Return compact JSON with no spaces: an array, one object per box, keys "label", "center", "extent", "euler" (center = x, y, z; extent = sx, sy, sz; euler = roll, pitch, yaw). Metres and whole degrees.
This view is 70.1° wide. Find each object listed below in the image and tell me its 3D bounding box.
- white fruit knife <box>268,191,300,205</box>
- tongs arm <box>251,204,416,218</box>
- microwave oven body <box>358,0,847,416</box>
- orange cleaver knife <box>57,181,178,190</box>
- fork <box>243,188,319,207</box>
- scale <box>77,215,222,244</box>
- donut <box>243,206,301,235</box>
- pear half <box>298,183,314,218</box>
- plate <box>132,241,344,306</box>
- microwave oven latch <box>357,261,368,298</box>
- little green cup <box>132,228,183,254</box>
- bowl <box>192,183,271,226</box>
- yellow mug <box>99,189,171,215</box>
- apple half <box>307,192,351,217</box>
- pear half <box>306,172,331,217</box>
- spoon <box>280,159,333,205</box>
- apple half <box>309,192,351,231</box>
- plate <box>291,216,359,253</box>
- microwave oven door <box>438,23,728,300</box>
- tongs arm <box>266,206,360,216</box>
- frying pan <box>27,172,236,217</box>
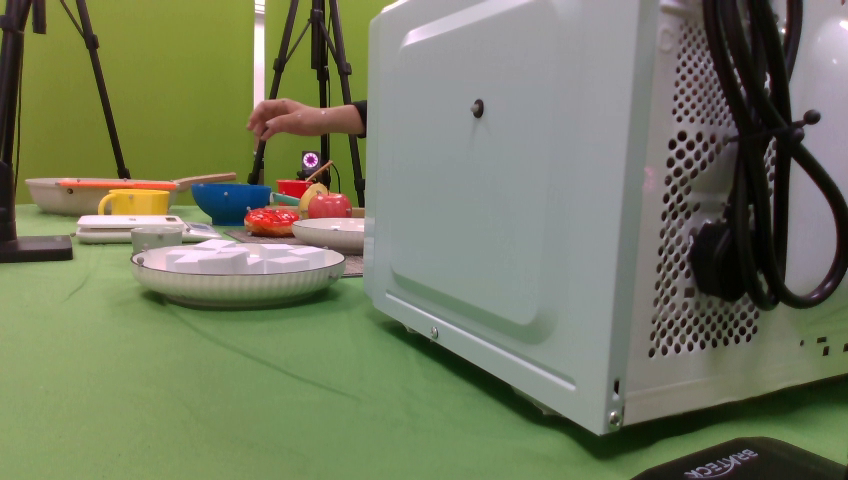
[{"label":"white fruit knife","center":[-0.364,-0.105,1.464],"extent":[0.208,0.027,0.016],"euler":[15,0,-34]},{"label":"tongs arm","center":[-0.211,-0.069,1.440],"extent":[0.389,0.027,0.028],"euler":[1,0,-17]},{"label":"microwave oven body","center":[0.211,-0.047,0.474],"extent":[0.444,0.260,0.324],"euler":[-1,7,-28]},{"label":"orange cleaver knife","center":[-0.600,-0.109,1.189],"extent":[0.212,0.012,0.077],"euler":[-1,11,-26]},{"label":"fork","center":[-0.356,-0.105,1.526],"extent":[0.208,0.018,0.028],"euler":[16,-6,-41]},{"label":"scale","center":[-0.434,-0.019,0.963],"extent":[0.202,0.031,0.148],"euler":[-1,9,-27]},{"label":"donut","center":[-0.261,-0.032,1.043],"extent":[0.099,0.048,0.099],"euler":[3,9,0]},{"label":"pear half","center":[-0.235,-0.071,1.207],"extent":[0.031,0.088,0.070],"euler":[3,9,0]},{"label":"plate","center":[-0.187,0.033,0.625],"extent":[0.208,0.039,0.207],"euler":[2,8,0]},{"label":"microwave oven latch","center":[-0.019,0.033,0.530],"extent":[0.079,0.029,0.030],"euler":[-1,7,-26]},{"label":"little green cup","center":[-0.342,0.006,0.779],"extent":[0.061,0.038,0.061],"euler":[2,8,0]},{"label":"bowl","center":[-0.382,-0.071,1.202],"extent":[0.151,0.077,0.151],"euler":[3,7,0]},{"label":"yellow mug","center":[-0.519,-0.055,1.080],"extent":[0.099,0.064,0.131],"euler":[7,10,26]},{"label":"apple half","center":[-0.174,-0.049,1.087],"extent":[0.081,0.074,0.053],"euler":[6,10,2]},{"label":"pear half","center":[-0.200,-0.079,1.204],"extent":[0.056,0.110,0.076],"euler":[3,11,1]},{"label":"spoon","center":[-0.316,-0.159,1.640],"extent":[0.194,0.022,0.041],"euler":[-50,32,-20]},{"label":"apple half","center":[-0.173,-0.055,1.125],"extent":[0.081,0.081,0.033],"euler":[3,10,3]},{"label":"plate","center":[-0.103,-0.009,0.945],"extent":[0.209,0.038,0.209],"euler":[2,8,0]},{"label":"microwave oven door","center":[0.181,-0.072,0.621],"extent":[0.358,0.243,0.039],"euler":[-2,8,-29]},{"label":"tongs arm","center":[-0.174,-0.061,1.363],"extent":[0.387,0.026,0.050],"euler":[-1,4,-31]},{"label":"frying pan","center":[-0.624,-0.118,1.387],"extent":[0.305,0.102,0.490],"euler":[8,17,32]}]
